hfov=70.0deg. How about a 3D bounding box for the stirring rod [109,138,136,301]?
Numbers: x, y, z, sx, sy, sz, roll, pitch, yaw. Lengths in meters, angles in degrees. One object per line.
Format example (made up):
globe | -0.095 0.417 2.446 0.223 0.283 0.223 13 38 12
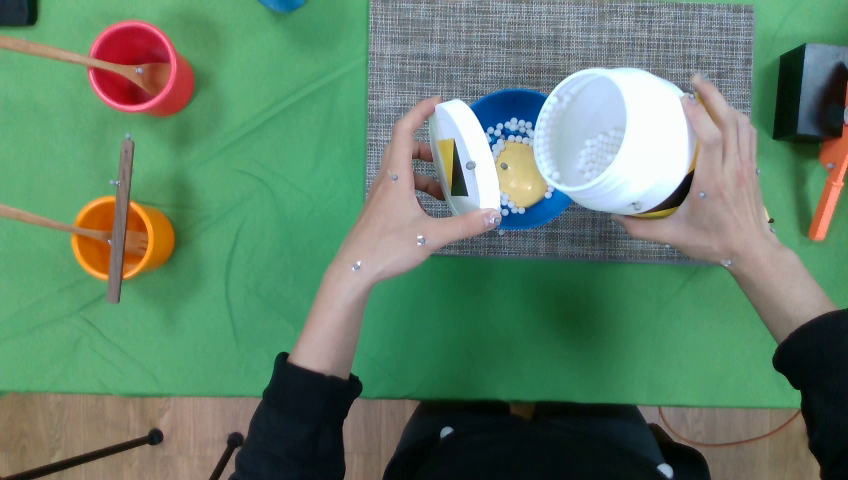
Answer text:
stirring rod | -0.324 -0.022 0.650 0.014 0.006 0.176 6 93 -3

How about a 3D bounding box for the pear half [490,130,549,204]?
pear half | 0.101 -0.085 0.670 0.070 0.031 0.088 -25 86 1

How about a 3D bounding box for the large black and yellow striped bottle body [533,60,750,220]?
large black and yellow striped bottle body | 0.206 -0.093 0.578 0.185 0.130 0.130 7 92 -36

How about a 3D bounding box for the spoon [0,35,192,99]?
spoon | -0.350 -0.190 0.650 0.195 0.021 0.041 6 95 -43

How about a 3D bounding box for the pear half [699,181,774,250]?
pear half | 0.339 -0.025 0.661 0.056 0.110 0.076 -18 87 2

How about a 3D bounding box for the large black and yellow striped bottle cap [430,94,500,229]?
large black and yellow striped bottle cap | 0.033 -0.065 0.515 0.019 0.115 0.115 -17 91 -12

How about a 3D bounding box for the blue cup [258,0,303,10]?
blue cup | -0.168 -0.300 0.665 0.092 0.100 0.092 0 92 3

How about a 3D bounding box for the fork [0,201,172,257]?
fork | -0.376 -0.015 0.652 0.209 0.018 0.028 19 102 -43

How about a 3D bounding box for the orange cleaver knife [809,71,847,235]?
orange cleaver knife | 0.462 -0.109 0.674 0.012 0.076 0.213 4 120 6

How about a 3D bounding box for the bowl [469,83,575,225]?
bowl | 0.098 -0.090 0.676 0.151 0.077 0.151 0 91 1
